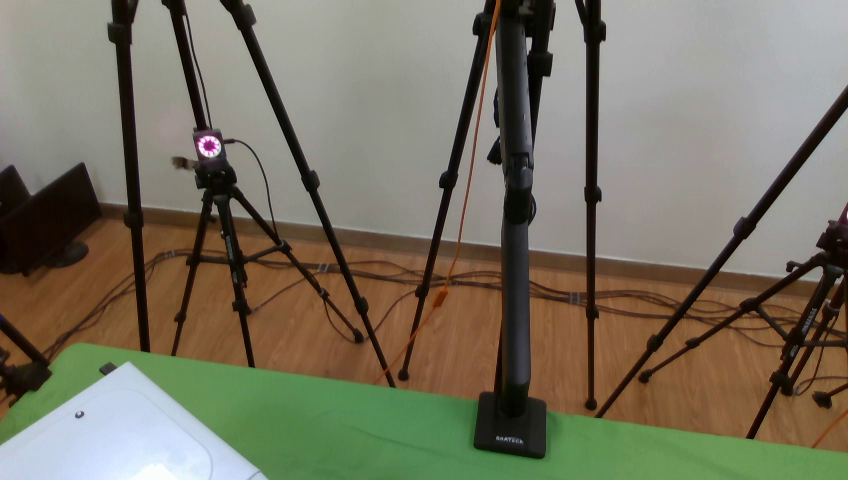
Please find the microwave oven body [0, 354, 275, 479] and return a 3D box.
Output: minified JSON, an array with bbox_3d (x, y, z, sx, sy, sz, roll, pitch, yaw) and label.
[{"bbox_3d":[-0.428,0.406,0.706,0.323,0.262,0.441,26,45,28],"label":"microwave oven body"}]
